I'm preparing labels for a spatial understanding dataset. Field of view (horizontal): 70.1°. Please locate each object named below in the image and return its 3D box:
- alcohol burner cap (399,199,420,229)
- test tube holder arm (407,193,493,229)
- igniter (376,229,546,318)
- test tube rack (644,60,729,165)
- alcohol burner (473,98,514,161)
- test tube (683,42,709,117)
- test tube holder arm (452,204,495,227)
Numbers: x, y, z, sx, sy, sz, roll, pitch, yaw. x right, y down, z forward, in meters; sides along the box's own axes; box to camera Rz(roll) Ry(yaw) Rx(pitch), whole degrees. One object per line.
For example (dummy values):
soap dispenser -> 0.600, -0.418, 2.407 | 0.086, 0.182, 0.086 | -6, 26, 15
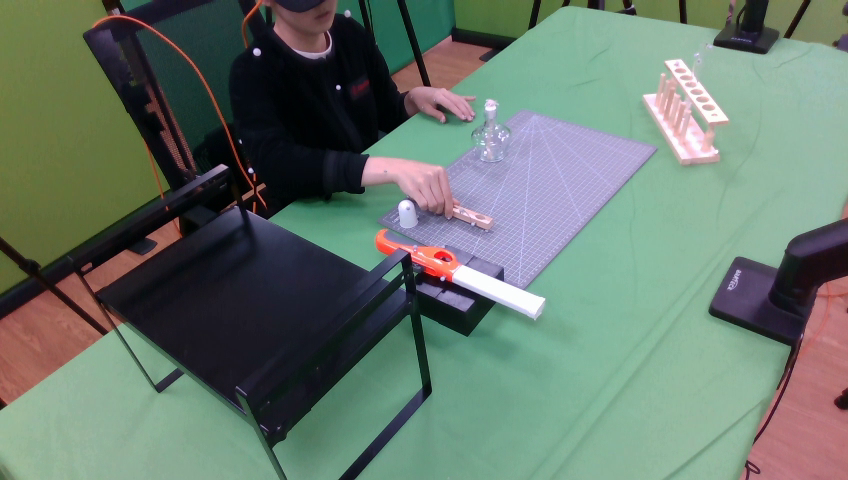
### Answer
alcohol burner cap -> -0.025, -0.047, 1.014 | 0.034, 0.048, 0.033 | -5, 42, 5
test tube holder arm -> 0.040, -0.051, 1.026 | 0.177, 0.015, 0.013 | 20, 37, 32
igniter -> 0.040, 0.042, 0.845 | 0.274, 0.025, 0.057 | 23, 46, 27
test tube rack -> 0.486, -0.246, 1.139 | 0.067, 0.085, 0.241 | -5, 41, 4
alcohol burner -> 0.127, -0.208, 1.123 | 0.078, 0.119, 0.077 | -5, 39, 5
test tube -> 0.499, -0.292, 1.115 | 0.017, 0.151, 0.017 | -3, 44, 3
test tube holder arm -> 0.079, -0.041, 1.006 | 0.087, 0.015, 0.010 | 21, 37, 33
